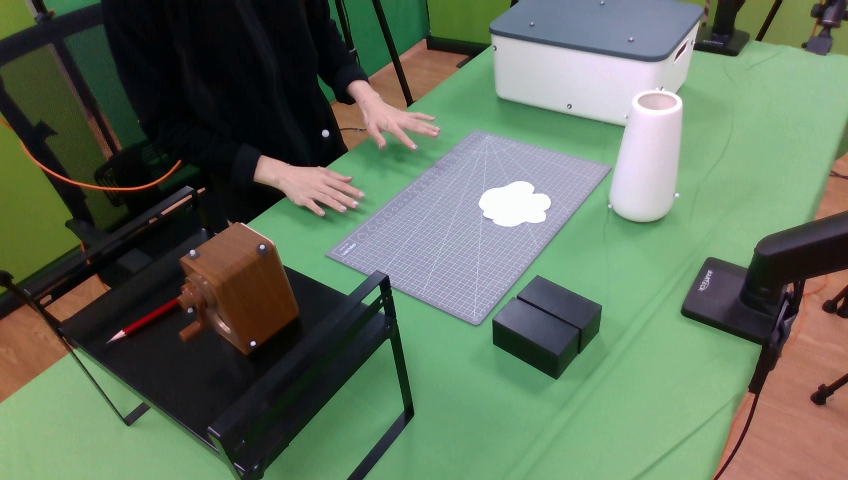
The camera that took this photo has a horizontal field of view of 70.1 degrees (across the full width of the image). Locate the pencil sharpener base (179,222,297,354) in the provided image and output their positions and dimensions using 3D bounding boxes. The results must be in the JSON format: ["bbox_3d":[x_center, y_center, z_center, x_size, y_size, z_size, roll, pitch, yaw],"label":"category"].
[{"bbox_3d":[-0.182,0.050,0.598,0.061,0.107,0.077,27,51,33],"label":"pencil sharpener base"}]

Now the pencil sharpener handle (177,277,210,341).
[{"bbox_3d":[-0.220,0.067,0.564,0.036,0.068,0.031,34,55,24],"label":"pencil sharpener handle"}]

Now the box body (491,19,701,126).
[{"bbox_3d":[0.352,-0.384,1.268,0.361,0.161,0.255,21,48,29],"label":"box body"}]

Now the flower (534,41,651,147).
[{"bbox_3d":[0.364,-0.319,1.319,0.038,0.044,0.359,-4,48,-50],"label":"flower"}]

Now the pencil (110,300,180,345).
[{"bbox_3d":[-0.257,0.059,0.675,0.195,0.012,0.012,-36,48,-27],"label":"pencil"}]

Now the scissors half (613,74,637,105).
[{"bbox_3d":[0.427,-0.330,1.306,0.013,0.040,0.174,31,31,-14],"label":"scissors half"}]

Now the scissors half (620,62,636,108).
[{"bbox_3d":[0.434,-0.340,1.298,0.013,0.040,0.174,25,42,-11],"label":"scissors half"}]

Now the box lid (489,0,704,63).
[{"bbox_3d":[0.345,-0.441,1.217,0.369,0.015,0.264,21,49,29],"label":"box lid"}]

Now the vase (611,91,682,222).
[{"bbox_3d":[0.348,-0.125,0.935,0.098,0.201,0.097,-3,40,3],"label":"vase"}]
